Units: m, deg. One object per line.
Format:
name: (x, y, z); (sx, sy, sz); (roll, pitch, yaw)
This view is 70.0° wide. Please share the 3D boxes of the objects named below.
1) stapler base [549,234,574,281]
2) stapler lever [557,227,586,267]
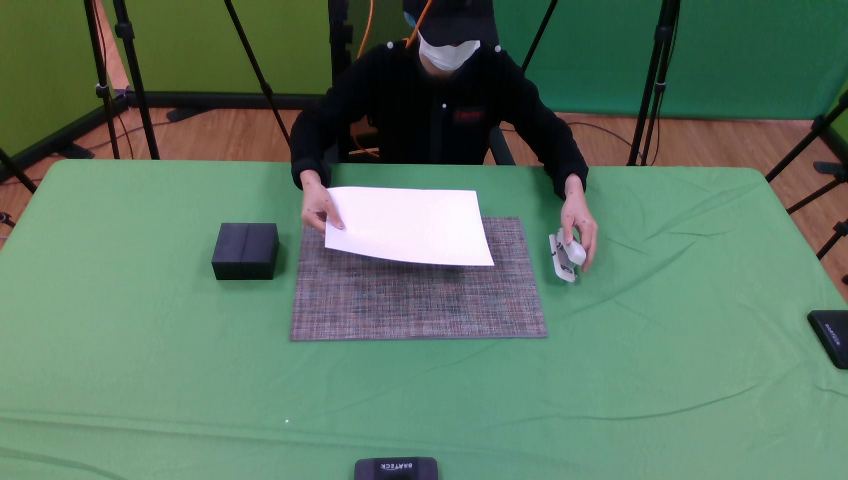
stapler base: (0.270, 0.027, 1.168); (0.041, 0.024, 0.130); (26, 32, -14)
stapler lever: (0.281, 0.007, 1.156); (0.027, 0.040, 0.117); (26, 31, -14)
